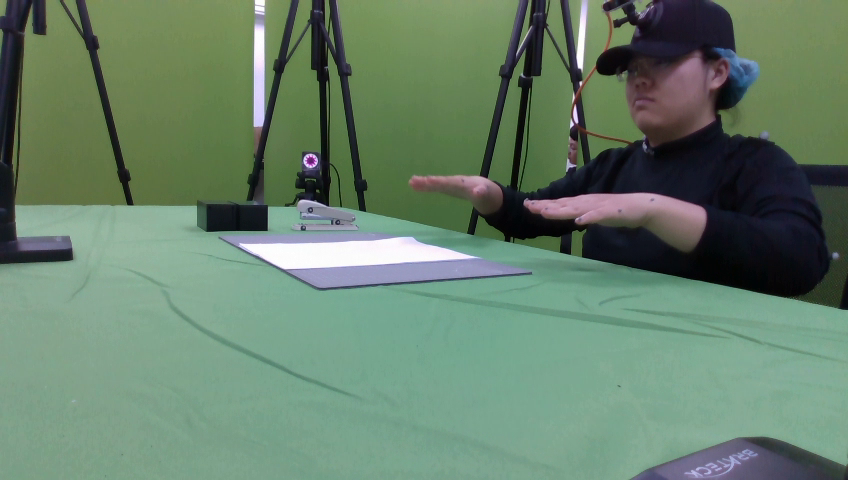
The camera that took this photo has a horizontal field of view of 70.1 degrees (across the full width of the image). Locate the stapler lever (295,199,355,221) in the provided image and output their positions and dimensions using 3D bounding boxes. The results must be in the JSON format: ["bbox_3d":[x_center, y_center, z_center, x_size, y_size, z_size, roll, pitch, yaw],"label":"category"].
[{"bbox_3d":[-0.196,-0.058,1.199,0.118,0.040,0.026,2,10,-24],"label":"stapler lever"}]

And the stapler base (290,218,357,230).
[{"bbox_3d":[-0.199,-0.033,1.201,0.131,0.024,0.041,2,9,-25],"label":"stapler base"}]
